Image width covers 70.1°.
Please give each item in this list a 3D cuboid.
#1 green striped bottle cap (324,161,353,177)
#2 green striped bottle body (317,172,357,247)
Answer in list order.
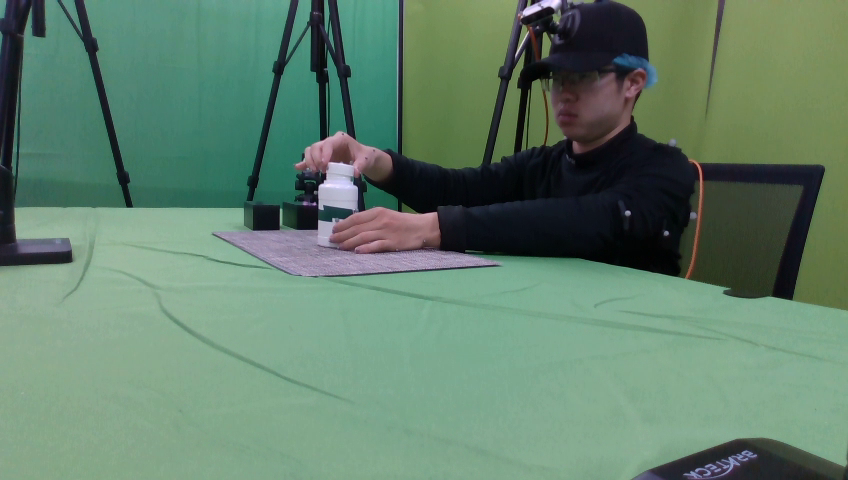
[{"bbox_3d":[-0.136,-0.112,0.957,0.044,0.020,0.044,9,4,0],"label":"green striped bottle cap"},{"bbox_3d":[-0.138,-0.051,0.964,0.063,0.119,0.063,2,7,0],"label":"green striped bottle body"}]
